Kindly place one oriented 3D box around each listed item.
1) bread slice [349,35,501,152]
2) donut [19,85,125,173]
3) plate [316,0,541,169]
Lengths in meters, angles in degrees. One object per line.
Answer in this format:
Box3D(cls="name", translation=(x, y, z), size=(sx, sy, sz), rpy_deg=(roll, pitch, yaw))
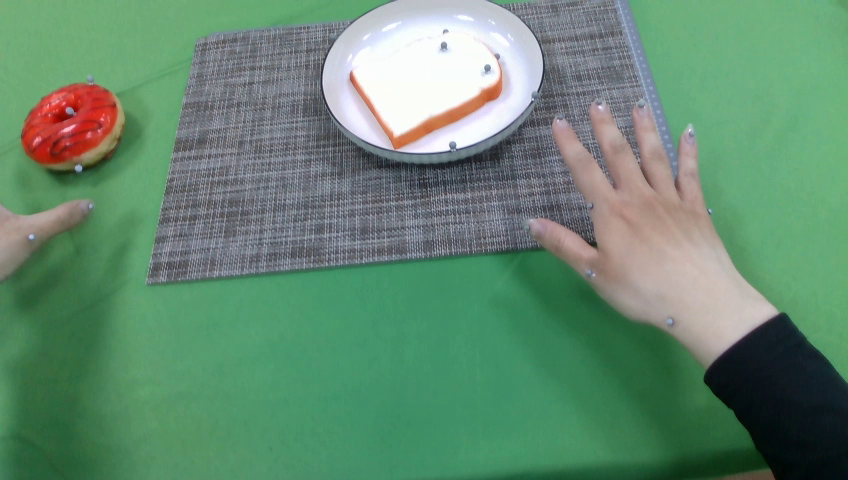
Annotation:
Box3D(cls="bread slice", translation=(0.005, -0.149, 0.577), size=(0.131, 0.019, 0.104), rpy_deg=(-28, 61, -10))
Box3D(cls="donut", translation=(-0.339, -0.108, 0.585), size=(0.099, 0.049, 0.098), rpy_deg=(-3, 60, 6))
Box3D(cls="plate", translation=(0.004, -0.146, 0.574), size=(0.207, 0.039, 0.205), rpy_deg=(-2, 59, 4))
